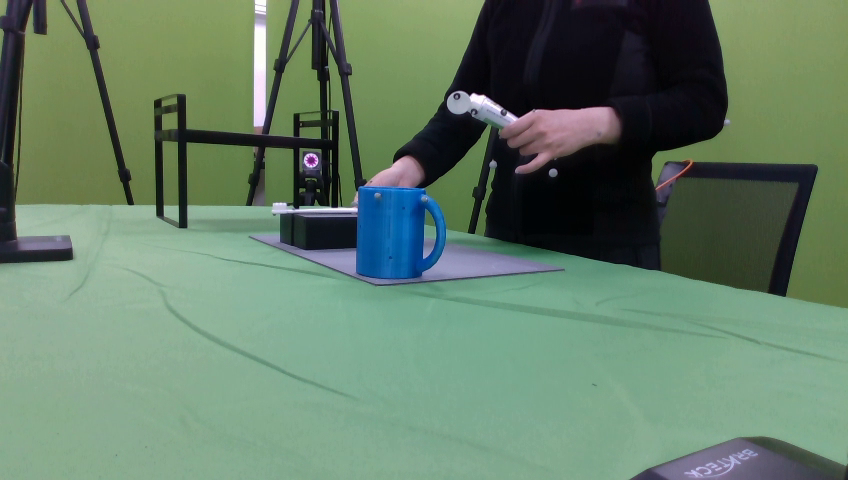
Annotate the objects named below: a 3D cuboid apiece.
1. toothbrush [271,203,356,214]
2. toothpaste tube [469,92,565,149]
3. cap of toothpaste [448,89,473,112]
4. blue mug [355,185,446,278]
[{"bbox_3d":[-0.154,-0.051,0.957,0.183,0.016,0.014,-2,4,-34],"label":"toothbrush"},{"bbox_3d":[0.133,-0.175,0.901,0.165,0.034,0.055,25,14,-13],"label":"toothpaste tube"},{"bbox_3d":[0.052,-0.201,0.867,0.037,0.037,0.011,2,41,-4],"label":"cap of toothpaste"},{"bbox_3d":[-0.027,-0.011,0.723,0.116,0.106,0.083,6,8,27],"label":"blue mug"}]
